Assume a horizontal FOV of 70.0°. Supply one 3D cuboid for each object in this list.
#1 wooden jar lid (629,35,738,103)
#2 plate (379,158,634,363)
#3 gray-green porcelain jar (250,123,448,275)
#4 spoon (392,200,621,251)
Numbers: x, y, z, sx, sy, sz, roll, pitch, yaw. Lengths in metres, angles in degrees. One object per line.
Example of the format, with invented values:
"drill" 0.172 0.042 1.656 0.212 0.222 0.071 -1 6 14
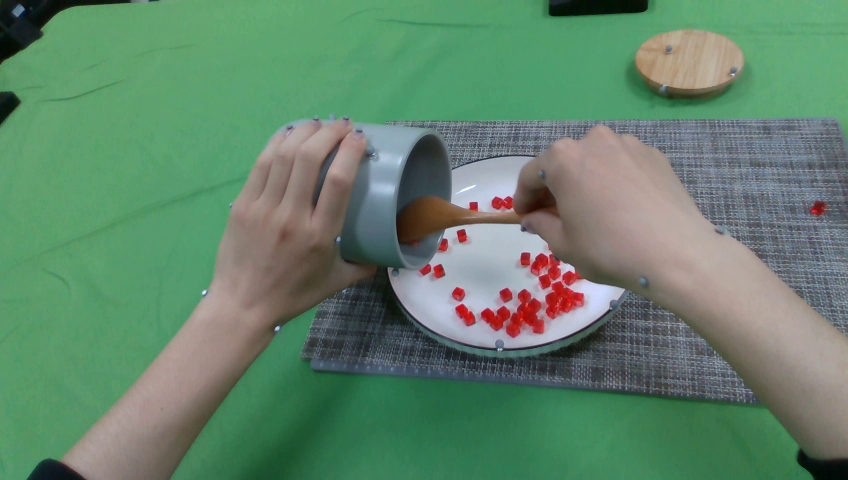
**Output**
"wooden jar lid" 0.277 -0.184 0.652 0.108 0.021 0.107 -5 51 7
"plate" 0.067 0.015 0.510 0.207 0.039 0.205 -6 49 7
"gray-green porcelain jar" -0.058 -0.034 0.466 0.126 0.107 0.105 9 53 22
"spoon" 0.048 -0.015 0.437 0.192 0.022 0.041 -3 69 36
